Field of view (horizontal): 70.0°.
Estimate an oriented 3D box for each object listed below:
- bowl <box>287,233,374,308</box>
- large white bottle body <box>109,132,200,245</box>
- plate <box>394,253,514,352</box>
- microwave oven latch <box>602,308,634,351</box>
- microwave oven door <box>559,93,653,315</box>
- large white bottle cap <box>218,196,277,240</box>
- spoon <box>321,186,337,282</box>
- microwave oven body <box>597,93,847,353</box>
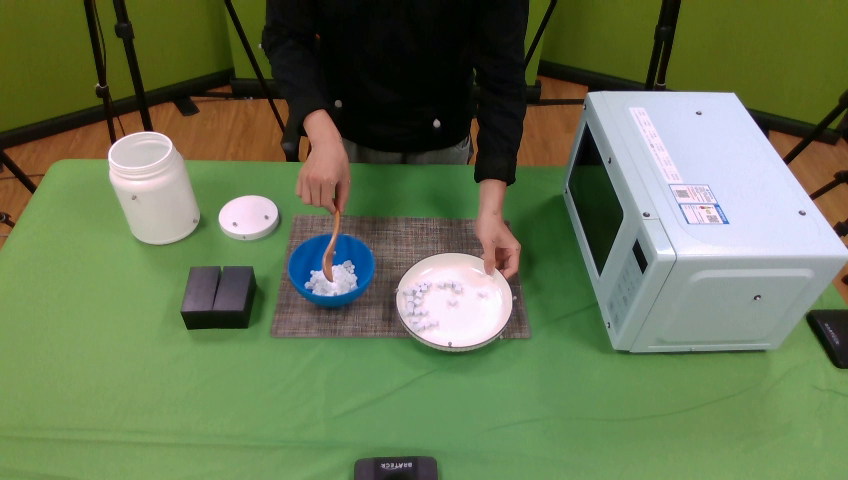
[{"bbox_3d":[-0.165,0.068,1.078,0.151,0.077,0.150,3,46,-2],"label":"bowl"},{"bbox_3d":[-0.506,-0.097,1.141,0.131,0.185,0.130,2,46,-2],"label":"large white bottle body"},{"bbox_3d":[0.051,0.112,1.072,0.209,0.038,0.208,0,49,0],"label":"plate"},{"bbox_3d":[0.332,0.153,1.044,0.030,0.029,0.078,-1,45,-4],"label":"microwave oven latch"},{"bbox_3d":[0.327,-0.074,1.123,0.039,0.245,0.353,-1,46,-5],"label":"microwave oven door"},{"bbox_3d":[-0.355,-0.045,1.220,0.115,0.018,0.114,1,46,-1],"label":"large white bottle cap"},{"bbox_3d":[-0.166,-0.014,1.068,0.021,0.042,0.192,-14,60,20],"label":"spoon"},{"bbox_3d":[0.475,-0.041,1.109,0.326,0.261,0.438,-1,45,-4],"label":"microwave oven body"}]
